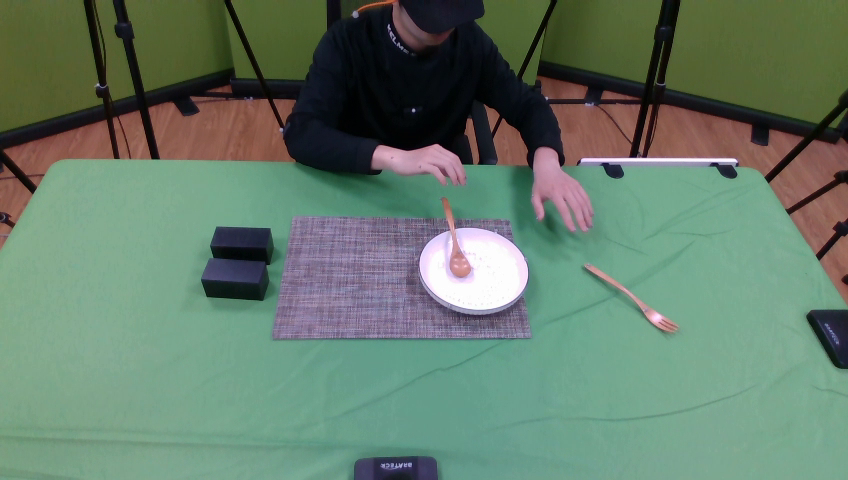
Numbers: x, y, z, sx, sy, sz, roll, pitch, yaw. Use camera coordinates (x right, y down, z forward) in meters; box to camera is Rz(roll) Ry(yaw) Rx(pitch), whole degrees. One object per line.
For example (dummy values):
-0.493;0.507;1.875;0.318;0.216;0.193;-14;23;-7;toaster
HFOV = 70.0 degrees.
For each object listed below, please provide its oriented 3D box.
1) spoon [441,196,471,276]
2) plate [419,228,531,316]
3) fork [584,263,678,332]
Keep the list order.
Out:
0.056;-0.010;1.176;0.041;0.022;0.192;-6;60;-7;spoon
0.093;0.062;1.130;0.208;0.039;0.206;2;46;-2;plate
0.380;0.103;1.130;0.028;0.019;0.206;-34;58;-23;fork
